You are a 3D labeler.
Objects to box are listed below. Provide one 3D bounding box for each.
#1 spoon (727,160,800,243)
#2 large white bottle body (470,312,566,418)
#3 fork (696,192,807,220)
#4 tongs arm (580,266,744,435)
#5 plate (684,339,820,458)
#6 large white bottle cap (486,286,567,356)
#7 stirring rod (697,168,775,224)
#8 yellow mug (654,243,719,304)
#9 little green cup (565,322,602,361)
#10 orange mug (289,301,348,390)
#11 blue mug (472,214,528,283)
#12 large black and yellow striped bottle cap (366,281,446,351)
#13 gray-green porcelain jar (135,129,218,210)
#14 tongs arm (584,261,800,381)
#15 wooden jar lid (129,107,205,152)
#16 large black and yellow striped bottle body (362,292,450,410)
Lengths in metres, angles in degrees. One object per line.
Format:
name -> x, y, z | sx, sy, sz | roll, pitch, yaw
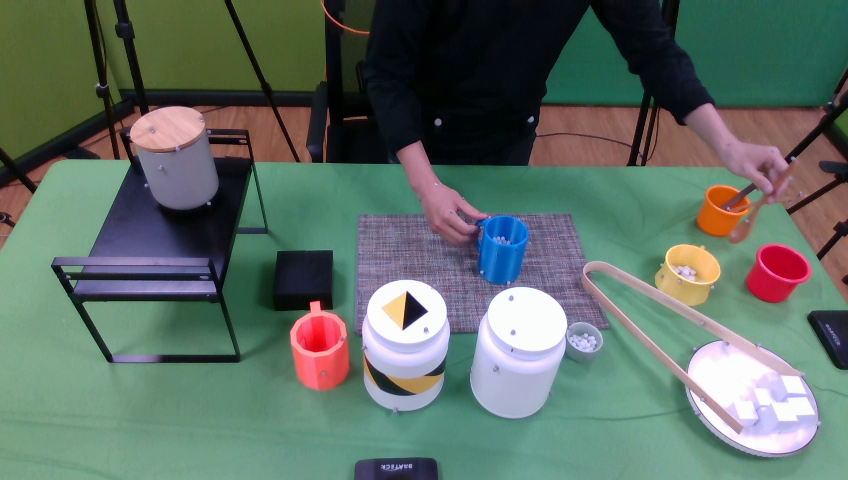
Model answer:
spoon -> 0.598, -0.065, 1.073 | 0.021, 0.194, 0.041 | 14, 45, 0
large white bottle body -> 0.143, 0.173, 0.930 | 0.131, 0.185, 0.130 | 2, 46, -2
fork -> 0.655, -0.069, 1.224 | 0.207, 0.019, 0.028 | -17, 32, 45
tongs arm -> 0.384, 0.173, 1.028 | 0.028, 0.028, 0.385 | -25, 46, -15
plate -> 0.523, 0.256, 0.982 | 0.208, 0.039, 0.206 | 2, 46, -2
large white bottle cap -> 0.147, 0.114, 0.869 | 0.115, 0.018, 0.114 | 3, 46, -3
stirring rod -> 0.644, -0.090, 1.252 | 0.176, 0.006, 0.014 | -39, 54, 17
yellow mug -> 0.504, 0.054, 1.154 | 0.099, 0.064, 0.130 | 28, 49, 22
little green cup -> 0.270, 0.176, 1.039 | 0.061, 0.039, 0.061 | 2, 46, -2
orange mug -> -0.170, 0.162, 0.976 | 0.083, 0.101, 0.125 | -7, 52, -11
blue mug -> 0.133, 0.008, 1.136 | 0.082, 0.106, 0.116 | -34, 57, -30
large black and yellow striped bottle cap -> -0.025, 0.106, 0.865 | 0.115, 0.019, 0.114 | 2, 46, -1
gray-green porcelain jar -> -0.388, -0.120, 0.960 | 0.106, 0.127, 0.105 | 2, 46, -2
tongs arm -> 0.452, 0.137, 1.064 | 0.051, 0.027, 0.382 | -34, 50, -27
wooden jar lid -> -0.385, -0.163, 0.915 | 0.108, 0.021, 0.107 | 2, 47, -2
large black and yellow striped bottle body -> -0.030, 0.163, 0.928 | 0.131, 0.185, 0.130 | 2, 47, -2
